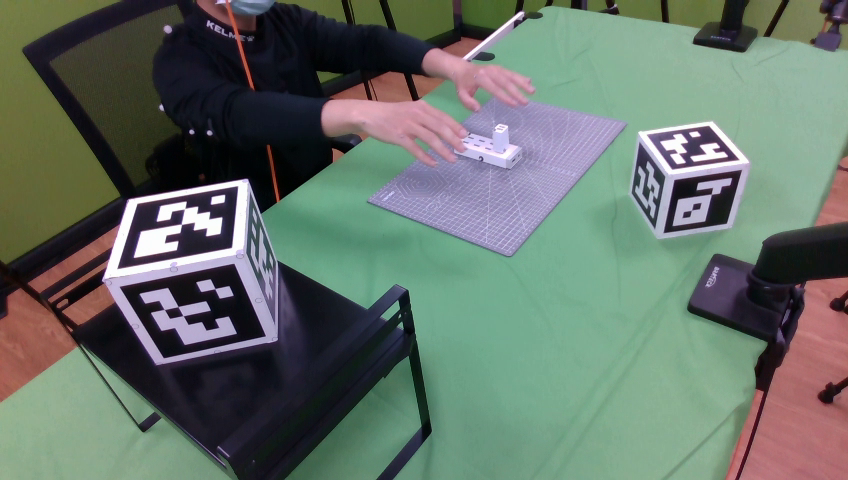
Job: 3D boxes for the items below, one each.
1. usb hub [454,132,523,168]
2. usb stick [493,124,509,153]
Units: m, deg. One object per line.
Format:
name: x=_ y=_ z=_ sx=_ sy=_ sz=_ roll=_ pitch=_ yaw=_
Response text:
usb hub: x=0.121 y=-0.170 z=1.144 sx=0.124 sy=0.025 sz=0.049 roll=22 pitch=48 yaw=29
usb stick: x=0.142 y=-0.180 z=1.107 sx=0.021 sy=0.059 sz=0.027 roll=19 pitch=46 yaw=29
